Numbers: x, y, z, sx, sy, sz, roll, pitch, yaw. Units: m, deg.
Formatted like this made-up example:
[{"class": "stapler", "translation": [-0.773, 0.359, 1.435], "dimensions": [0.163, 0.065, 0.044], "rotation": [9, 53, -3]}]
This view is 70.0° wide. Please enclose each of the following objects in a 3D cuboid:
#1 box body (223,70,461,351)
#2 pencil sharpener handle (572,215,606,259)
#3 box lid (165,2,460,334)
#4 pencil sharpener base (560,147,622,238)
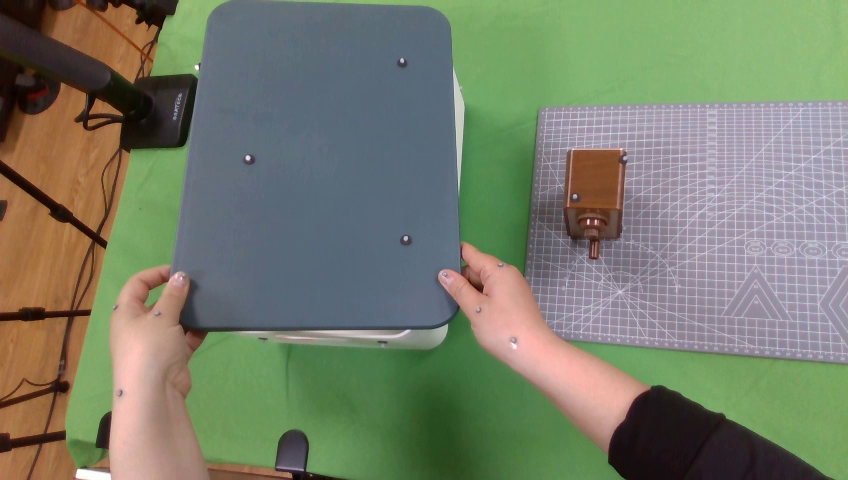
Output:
[{"class": "box body", "translation": [-0.096, -0.052, 0.733], "dimensions": [0.253, 0.161, 0.362], "rotation": [0, 73, 15]}, {"class": "pencil sharpener handle", "translation": [0.180, -0.002, 0.654], "dimensions": [0.036, 0.068, 0.030], "rotation": [0, 73, 26]}, {"class": "box lid", "translation": [-0.101, -0.090, 0.602], "dimensions": [0.264, 0.015, 0.368], "rotation": [0, 68, -5]}, {"class": "pencil sharpener base", "translation": [0.187, -0.048, 0.679], "dimensions": [0.061, 0.108, 0.076], "rotation": [3, 74, 17]}]
